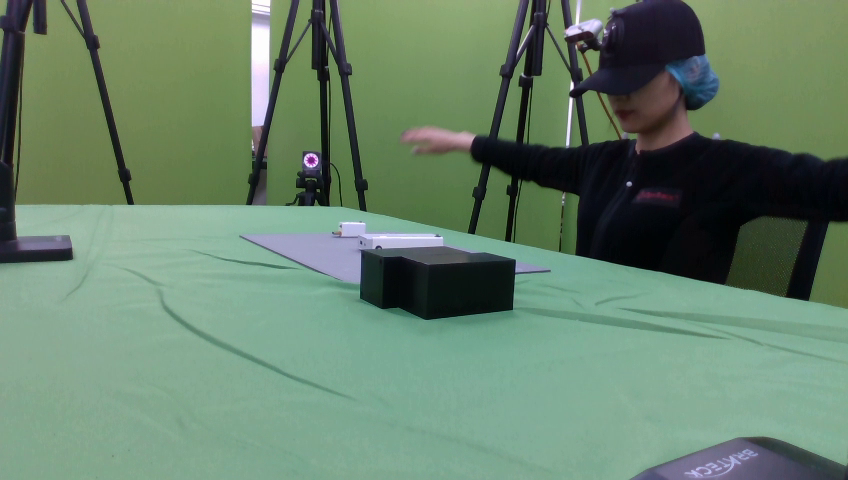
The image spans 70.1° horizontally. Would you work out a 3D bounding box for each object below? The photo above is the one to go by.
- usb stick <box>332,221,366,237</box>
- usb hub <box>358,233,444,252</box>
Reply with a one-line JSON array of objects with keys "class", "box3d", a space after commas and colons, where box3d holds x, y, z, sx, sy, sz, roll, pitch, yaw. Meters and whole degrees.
[{"class": "usb stick", "box3d": [-0.134, -0.020, 1.070, 0.059, 0.027, 0.021, -4, 10, -26]}, {"class": "usb hub", "box3d": [-0.035, 0.003, 0.928, 0.126, 0.025, 0.049, -1, 8, -23]}]
